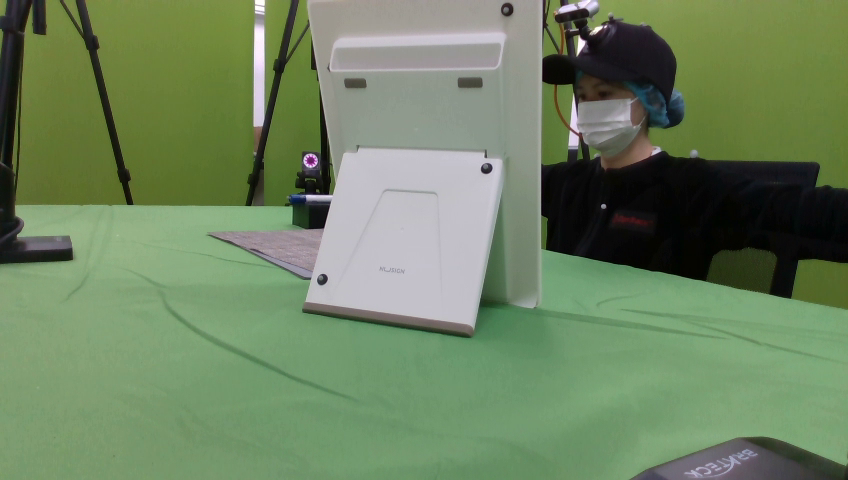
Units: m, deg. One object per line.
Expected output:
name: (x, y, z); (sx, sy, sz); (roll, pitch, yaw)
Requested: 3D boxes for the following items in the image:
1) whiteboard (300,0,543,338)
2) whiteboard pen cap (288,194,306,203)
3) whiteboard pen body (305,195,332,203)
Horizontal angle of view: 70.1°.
whiteboard: (-0.020, -0.050, 0.523); (0.216, 0.305, 0.144); (6, 28, 22)
whiteboard pen cap: (-0.253, -0.083, 1.204); (0.033, 0.018, 0.018); (-4, 10, -34)
whiteboard pen body: (-0.201, -0.085, 1.237); (0.141, 0.017, 0.017); (-2, 9, -33)
